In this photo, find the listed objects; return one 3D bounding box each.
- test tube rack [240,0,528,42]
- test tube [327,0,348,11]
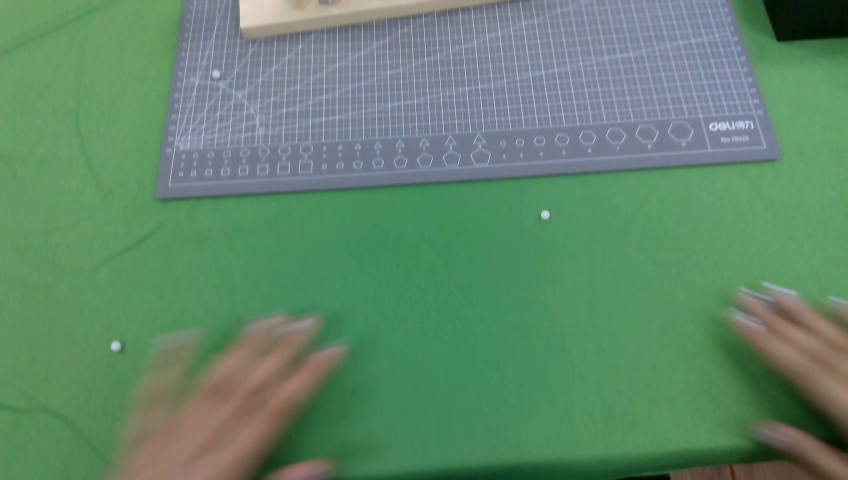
[{"bbox_3d":[-0.032,-0.226,0.470,0.242,0.086,0.066,-9,66,-2],"label":"test tube rack"},{"bbox_3d":[-0.072,-0.222,0.421,0.017,0.151,0.017,-1,64,2],"label":"test tube"}]
